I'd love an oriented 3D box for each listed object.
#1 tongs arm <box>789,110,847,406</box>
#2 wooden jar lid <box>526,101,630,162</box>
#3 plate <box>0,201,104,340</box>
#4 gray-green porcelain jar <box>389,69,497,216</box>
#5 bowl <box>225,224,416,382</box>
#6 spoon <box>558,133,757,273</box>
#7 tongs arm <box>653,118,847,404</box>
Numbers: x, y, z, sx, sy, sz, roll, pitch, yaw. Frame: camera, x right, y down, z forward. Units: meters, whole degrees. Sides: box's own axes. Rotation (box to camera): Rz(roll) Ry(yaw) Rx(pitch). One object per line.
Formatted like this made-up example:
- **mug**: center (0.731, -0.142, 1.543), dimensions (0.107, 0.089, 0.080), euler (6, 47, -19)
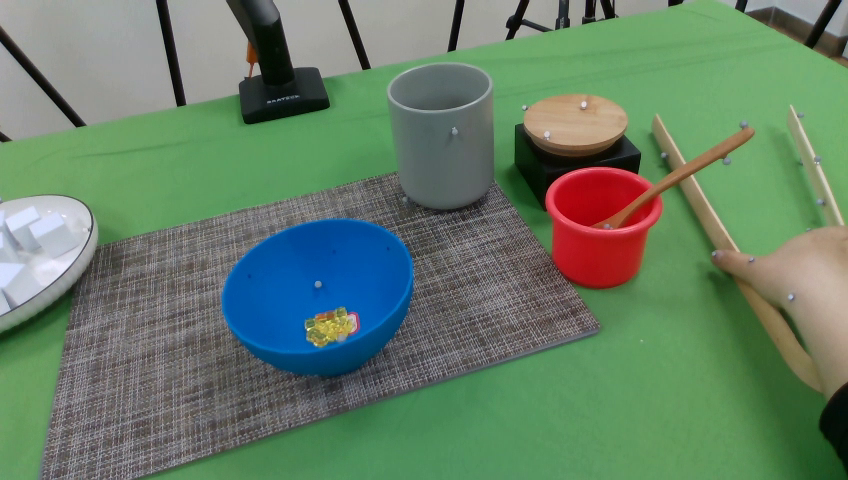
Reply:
- **tongs arm**: center (0.365, -0.014, 0.567), dimensions (0.050, 0.027, 0.381), euler (3, 42, 13)
- **wooden jar lid**: center (0.163, -0.116, 0.649), dimensions (0.108, 0.021, 0.107), euler (-4, 40, 4)
- **plate**: center (-0.428, 0.036, 0.612), dimensions (0.209, 0.038, 0.207), euler (-4, 41, 4)
- **gray-green porcelain jar**: center (0.023, -0.097, 0.635), dimensions (0.106, 0.128, 0.105), euler (-4, 41, 4)
- **bowl**: center (-0.077, 0.063, 0.498), dimensions (0.151, 0.077, 0.150), euler (-4, 40, 4)
- **spoon**: center (0.196, -0.029, 0.524), dimensions (0.194, 0.022, 0.041), euler (-42, 30, 29)
- **tongs arm**: center (0.286, -0.011, 0.581), dimensions (0.028, 0.028, 0.383), euler (-3, 41, 1)
